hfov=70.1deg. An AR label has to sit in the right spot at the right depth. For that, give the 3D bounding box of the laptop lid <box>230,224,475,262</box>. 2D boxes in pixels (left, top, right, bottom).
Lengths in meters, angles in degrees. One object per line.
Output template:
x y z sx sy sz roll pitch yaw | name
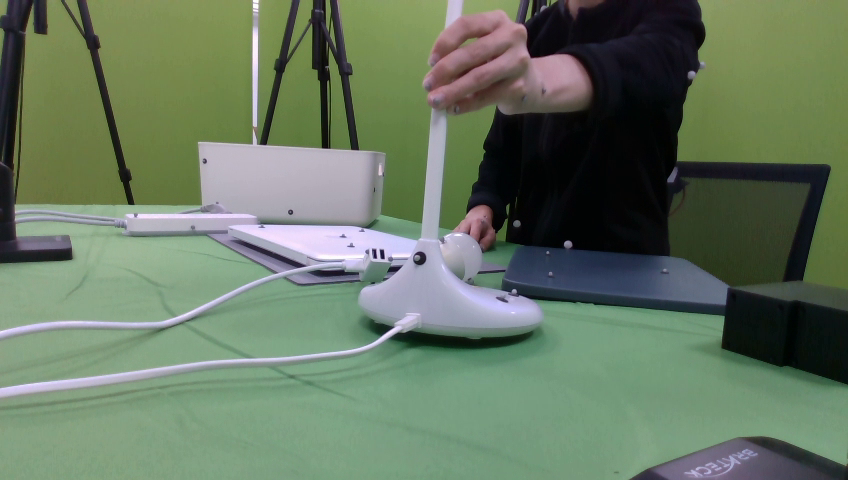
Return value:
-0.119 0.000 0.889 0.243 0.013 0.355 1 7 -33 | laptop lid

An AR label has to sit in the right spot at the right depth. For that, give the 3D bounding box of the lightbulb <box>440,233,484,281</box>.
0.021 0.028 0.694 0.108 0.059 0.059 -20 18 -31 | lightbulb

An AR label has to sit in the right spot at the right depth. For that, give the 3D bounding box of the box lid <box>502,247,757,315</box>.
0.244 0.044 0.793 0.263 0.015 0.372 4 7 10 | box lid

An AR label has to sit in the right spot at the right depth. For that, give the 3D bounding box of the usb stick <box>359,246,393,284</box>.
-0.054 0.031 0.657 0.027 0.021 0.059 0 -33 -20 | usb stick

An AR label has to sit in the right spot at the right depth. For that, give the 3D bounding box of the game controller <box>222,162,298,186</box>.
-0.357 -0.143 1.322 0.156 0.051 0.097 1 2 -16 | game controller

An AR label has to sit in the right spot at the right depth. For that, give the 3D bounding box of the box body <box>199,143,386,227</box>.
-0.276 -0.124 1.335 0.364 0.160 0.254 3 7 1 | box body

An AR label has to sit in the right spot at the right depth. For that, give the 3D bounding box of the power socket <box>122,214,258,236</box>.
-0.398 -0.028 1.049 0.228 0.032 0.072 -3 8 -34 | power socket

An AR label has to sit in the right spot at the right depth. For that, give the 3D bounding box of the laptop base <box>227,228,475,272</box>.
-0.122 0.012 0.889 0.237 0.023 0.352 1 7 -35 | laptop base

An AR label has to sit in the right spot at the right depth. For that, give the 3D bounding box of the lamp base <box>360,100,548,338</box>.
0.027 -0.019 0.502 0.160 0.180 0.179 5 7 15 | lamp base

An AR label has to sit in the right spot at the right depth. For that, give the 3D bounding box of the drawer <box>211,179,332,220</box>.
-0.328 -0.095 1.332 0.212 0.073 0.194 5 8 6 | drawer

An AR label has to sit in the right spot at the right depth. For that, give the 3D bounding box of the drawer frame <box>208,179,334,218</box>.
-0.327 -0.093 1.328 0.213 0.082 0.202 0 5 6 | drawer frame

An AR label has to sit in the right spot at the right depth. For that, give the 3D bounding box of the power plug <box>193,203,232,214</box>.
-0.394 -0.042 1.139 0.072 0.052 0.035 -13 2 31 | power plug
